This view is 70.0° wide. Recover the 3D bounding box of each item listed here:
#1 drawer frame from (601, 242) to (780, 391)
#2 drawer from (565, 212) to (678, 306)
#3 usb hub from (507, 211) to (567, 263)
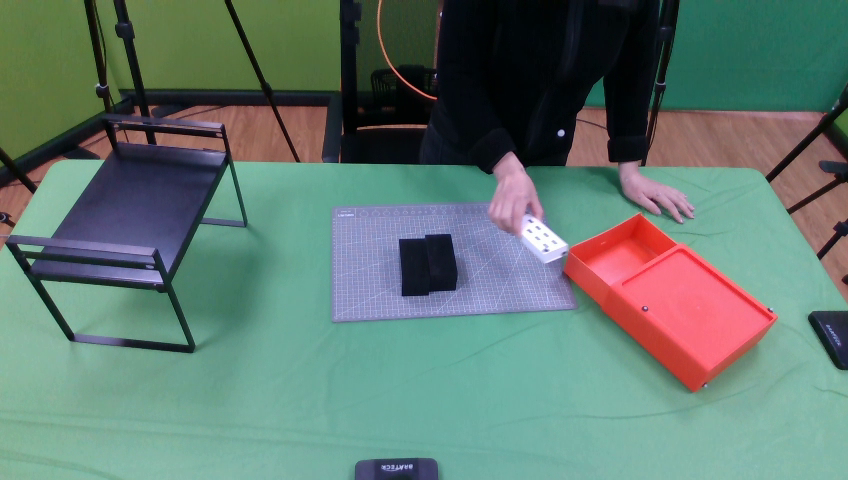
[{"bbox_3d":[0.462,0.125,1.065,0.202,0.083,0.212,-26,54,-26],"label":"drawer frame"},{"bbox_3d":[0.405,0.064,1.124,0.194,0.073,0.210,-24,52,-25],"label":"drawer"},{"bbox_3d":[0.202,-0.007,1.096,0.049,0.025,0.124,-21,39,-16],"label":"usb hub"}]
